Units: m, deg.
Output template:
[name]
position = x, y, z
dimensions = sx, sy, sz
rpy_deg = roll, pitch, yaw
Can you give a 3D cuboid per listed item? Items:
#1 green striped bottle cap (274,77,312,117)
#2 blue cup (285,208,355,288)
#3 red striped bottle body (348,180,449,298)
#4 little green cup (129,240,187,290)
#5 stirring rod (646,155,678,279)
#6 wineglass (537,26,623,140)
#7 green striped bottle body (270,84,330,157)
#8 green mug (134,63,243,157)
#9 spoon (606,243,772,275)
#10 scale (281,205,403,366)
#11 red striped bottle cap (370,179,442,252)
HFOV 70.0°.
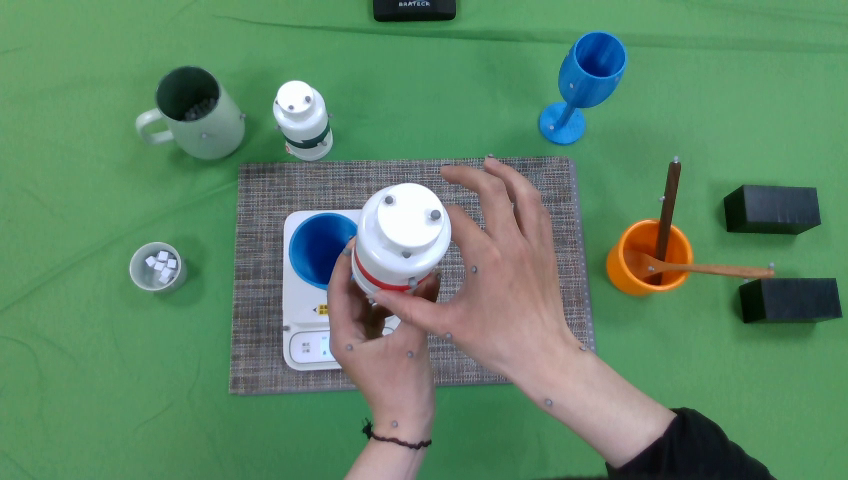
[green striped bottle cap]
position = -0.156, -0.171, 0.722
dimensions = 0.044, 0.020, 0.044
rpy_deg = 1, 74, -3
[blue cup]
position = -0.109, 0.018, 0.704
dimensions = 0.093, 0.100, 0.092
rpy_deg = 1, 77, -3
[red striped bottle body]
position = -0.020, -0.001, 0.430
dimensions = 0.063, 0.120, 0.062
rpy_deg = 3, 72, -9
[little green cup]
position = -0.329, 0.033, 0.756
dimensions = 0.061, 0.039, 0.061
rpy_deg = 1, 75, -4
[stirring rod]
position = 0.292, -0.023, 0.746
dimensions = 0.014, 0.177, 0.006
rpy_deg = 3, 34, 11
[wineglass]
position = 0.193, -0.194, 0.771
dimensions = 0.074, 0.173, 0.073
rpy_deg = 1, 75, -2
[green striped bottle body]
position = -0.157, -0.157, 0.772
dimensions = 0.063, 0.120, 0.063
rpy_deg = 1, 75, -2
[green mug]
position = -0.303, -0.158, 0.773
dimensions = 0.125, 0.105, 0.092
rpy_deg = -24, 78, -8
[spoon]
position = 0.313, 0.027, 0.734
dimensions = 0.022, 0.192, 0.041
rpy_deg = 19, 79, -42
[scale]
position = -0.104, 0.054, 0.762
dimensions = 0.149, 0.032, 0.200
rpy_deg = -3, 76, -3
[red striped bottle cap]
position = -0.011, -0.016, 0.380
dimensions = 0.045, 0.018, 0.044
rpy_deg = 4, 72, -11
